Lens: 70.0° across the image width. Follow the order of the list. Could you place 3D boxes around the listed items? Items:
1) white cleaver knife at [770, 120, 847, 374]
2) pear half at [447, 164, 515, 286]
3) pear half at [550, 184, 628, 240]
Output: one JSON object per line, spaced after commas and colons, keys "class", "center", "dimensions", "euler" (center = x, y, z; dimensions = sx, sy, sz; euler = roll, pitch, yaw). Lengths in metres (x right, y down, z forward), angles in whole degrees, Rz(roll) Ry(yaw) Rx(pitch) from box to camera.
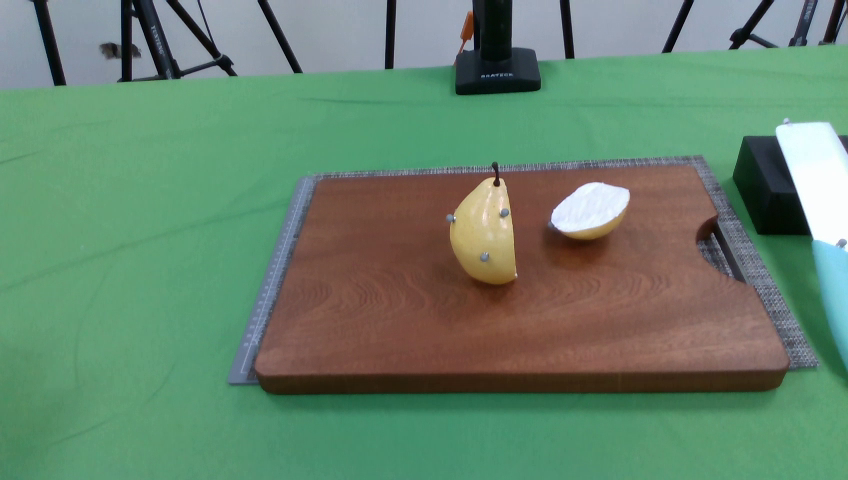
{"class": "white cleaver knife", "center": [0.357, -0.008, 0.518], "dimensions": [0.066, 0.022, 0.284], "euler": [1, 54, 10]}
{"class": "pear half", "center": [0.046, -0.015, 0.501], "dimensions": [0.056, 0.111, 0.075], "euler": [-8, 36, -2]}
{"class": "pear half", "center": [0.153, -0.022, 0.556], "dimensions": [0.070, 0.031, 0.087], "euler": [-8, 24, 21]}
